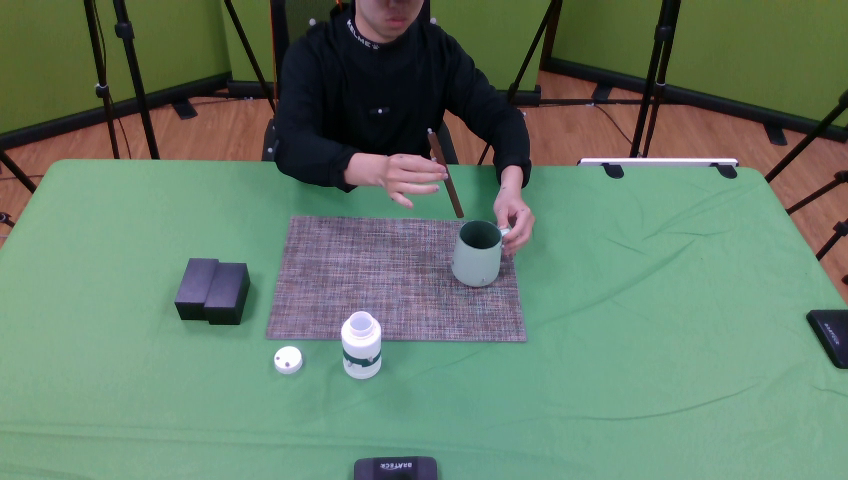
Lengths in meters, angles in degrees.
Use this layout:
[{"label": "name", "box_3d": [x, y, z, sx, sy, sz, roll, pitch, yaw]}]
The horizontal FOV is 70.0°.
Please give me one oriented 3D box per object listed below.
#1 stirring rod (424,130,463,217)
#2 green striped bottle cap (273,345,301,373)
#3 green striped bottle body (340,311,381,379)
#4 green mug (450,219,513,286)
[{"label": "stirring rod", "box_3d": [0.034, -0.108, 1.014, 0.014, 0.177, 0.006, -11, 37, 16]}, {"label": "green striped bottle cap", "box_3d": [-0.225, 0.195, 0.997, 0.044, 0.020, 0.044, 2, 50, -3]}, {"label": "green striped bottle body", "box_3d": [-0.101, 0.164, 0.964, 0.063, 0.120, 0.063, 2, 46, -2]}, {"label": "green mug", "box_3d": [0.111, 0.018, 1.125, 0.125, 0.105, 0.092, -22, 52, -24]}]
